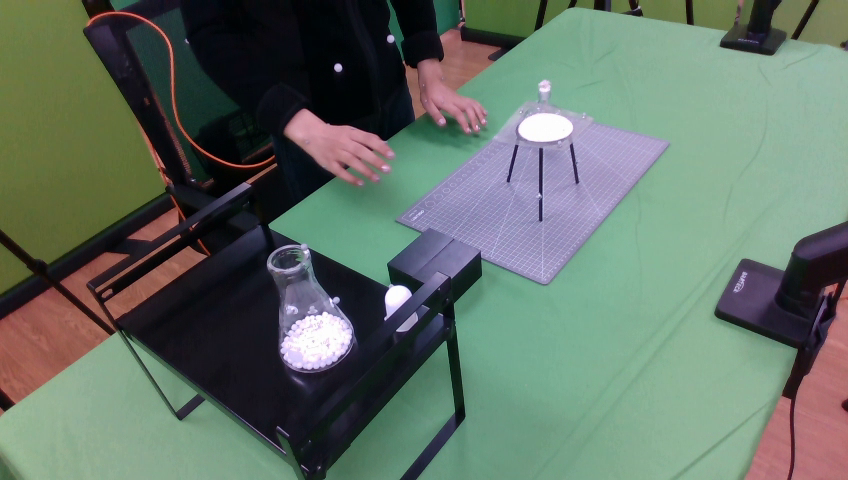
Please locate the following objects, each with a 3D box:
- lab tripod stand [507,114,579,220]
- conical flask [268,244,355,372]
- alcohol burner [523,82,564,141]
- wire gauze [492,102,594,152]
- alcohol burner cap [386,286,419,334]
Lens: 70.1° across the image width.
[{"bbox_3d":[0.199,-0.128,1.005,0.148,0.132,0.147,-3,42,3],"label":"lab tripod stand"},{"bbox_3d":[-0.111,0.060,0.564,0.075,0.122,0.075,-5,41,4],"label":"conical flask"},{"bbox_3d":[0.230,-0.250,1.161,0.078,0.119,0.077,-4,43,4],"label":"alcohol burner"},{"bbox_3d":[0.191,-0.180,0.964,0.120,0.011,0.125,19,48,28],"label":"wire gauze"},{"bbox_3d":[-0.024,0.067,0.604,0.034,0.048,0.033,-5,39,4],"label":"alcohol burner cap"}]
